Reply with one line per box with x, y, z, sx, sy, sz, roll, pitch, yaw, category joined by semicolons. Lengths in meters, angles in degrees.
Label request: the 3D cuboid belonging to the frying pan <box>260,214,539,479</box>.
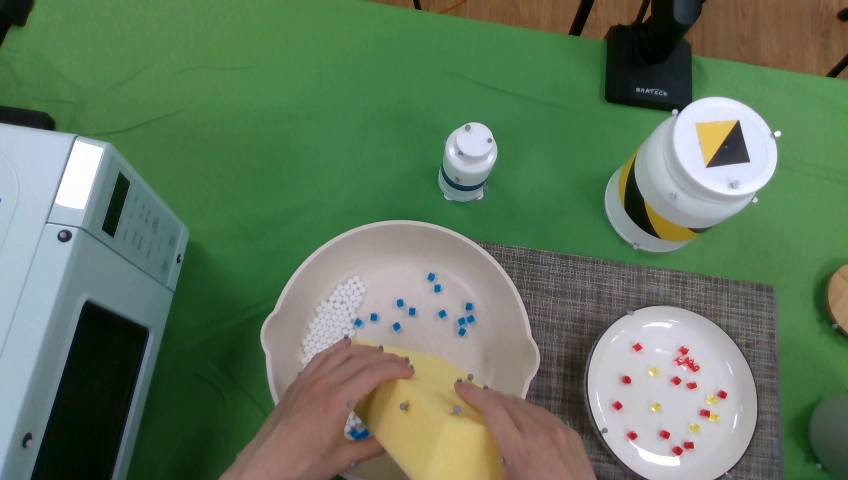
-0.039;0.211;0.649;0.307;0.103;0.484;7;66;0;frying pan

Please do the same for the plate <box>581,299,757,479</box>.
0.286;0.174;0.721;0.209;0.038;0.208;1;74;-4;plate

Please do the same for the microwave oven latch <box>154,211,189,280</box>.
-0.296;0.005;0.702;0.030;0.029;0.079;12;74;-2;microwave oven latch

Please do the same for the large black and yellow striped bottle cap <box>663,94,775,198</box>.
0.312;-0.101;0.640;0.115;0.019;0.114;1;72;-4;large black and yellow striped bottle cap

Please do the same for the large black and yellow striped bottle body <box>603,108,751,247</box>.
0.306;-0.076;0.723;0.131;0.185;0.130;1;73;-4;large black and yellow striped bottle body

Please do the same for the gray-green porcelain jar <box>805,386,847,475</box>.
0.514;0.217;0.687;0.106;0.127;0.105;1;73;-4;gray-green porcelain jar

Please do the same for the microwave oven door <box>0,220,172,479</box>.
-0.322;0.183;0.542;0.039;0.245;0.354;9;73;-2;microwave oven door

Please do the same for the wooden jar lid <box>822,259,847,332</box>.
0.568;0.076;0.787;0.108;0.021;0.108;1;75;-4;wooden jar lid

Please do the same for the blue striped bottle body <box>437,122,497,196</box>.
0.052;-0.102;0.740;0.063;0.121;0.062;1;74;-4;blue striped bottle body

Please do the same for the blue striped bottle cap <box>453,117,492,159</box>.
0.056;-0.117;0.690;0.044;0.021;0.044;1;71;-3;blue striped bottle cap

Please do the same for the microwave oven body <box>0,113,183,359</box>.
-0.460;0.122;0.553;0.326;0.261;0.439;9;74;-3;microwave oven body

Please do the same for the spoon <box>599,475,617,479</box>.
0.258;0.346;0.679;0.041;0.022;0.193;-37;81;-31;spoon

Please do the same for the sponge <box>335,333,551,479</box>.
0.007;0.160;0.582;0.119;0.205;0.061;17;92;-29;sponge
